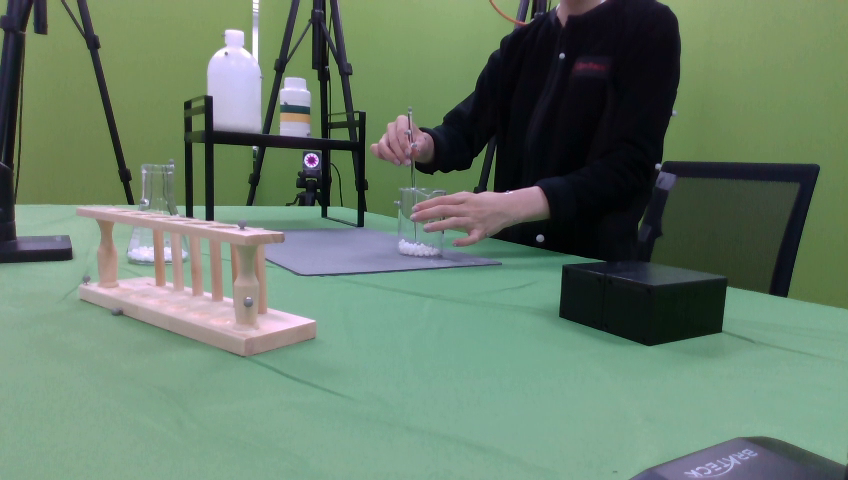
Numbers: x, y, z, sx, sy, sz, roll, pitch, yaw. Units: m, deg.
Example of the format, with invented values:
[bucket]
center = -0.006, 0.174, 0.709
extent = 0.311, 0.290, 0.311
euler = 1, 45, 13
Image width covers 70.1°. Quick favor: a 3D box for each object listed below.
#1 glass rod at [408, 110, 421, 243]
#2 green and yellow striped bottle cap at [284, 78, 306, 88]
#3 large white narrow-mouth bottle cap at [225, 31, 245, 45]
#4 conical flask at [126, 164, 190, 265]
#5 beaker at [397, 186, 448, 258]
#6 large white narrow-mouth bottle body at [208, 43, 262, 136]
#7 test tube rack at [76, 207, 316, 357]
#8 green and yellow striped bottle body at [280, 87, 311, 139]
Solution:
[glass rod]
center = -0.015, -0.092, 0.901
extent = 0.008, 0.199, 0.008
euler = -3, 12, 1
[green and yellow striped bottle cap]
center = -0.268, -0.325, 1.259
extent = 0.045, 0.020, 0.045
euler = 5, 7, 0
[large white narrow-mouth bottle cap]
center = -0.365, -0.388, 1.166
extent = 0.038, 0.024, 0.037
euler = 2, 9, 0
[conical flask]
center = -0.332, -0.033, 0.756
extent = 0.075, 0.122, 0.075
euler = 2, 7, 0
[beaker]
center = -0.002, -0.027, 0.890
extent = 0.074, 0.100, 0.084
euler = 0, 8, -11
[large white narrow-mouth bottle body]
center = -0.369, -0.304, 1.181
extent = 0.102, 0.194, 0.101
euler = 2, 9, 0
[test tube rack]
center = -0.196, 0.023, 0.500
extent = 0.241, 0.085, 0.067
euler = 8, 9, 36
[green and yellow striped bottle body]
center = -0.269, -0.274, 1.266
extent = 0.063, 0.119, 0.063
euler = 3, 7, 0
